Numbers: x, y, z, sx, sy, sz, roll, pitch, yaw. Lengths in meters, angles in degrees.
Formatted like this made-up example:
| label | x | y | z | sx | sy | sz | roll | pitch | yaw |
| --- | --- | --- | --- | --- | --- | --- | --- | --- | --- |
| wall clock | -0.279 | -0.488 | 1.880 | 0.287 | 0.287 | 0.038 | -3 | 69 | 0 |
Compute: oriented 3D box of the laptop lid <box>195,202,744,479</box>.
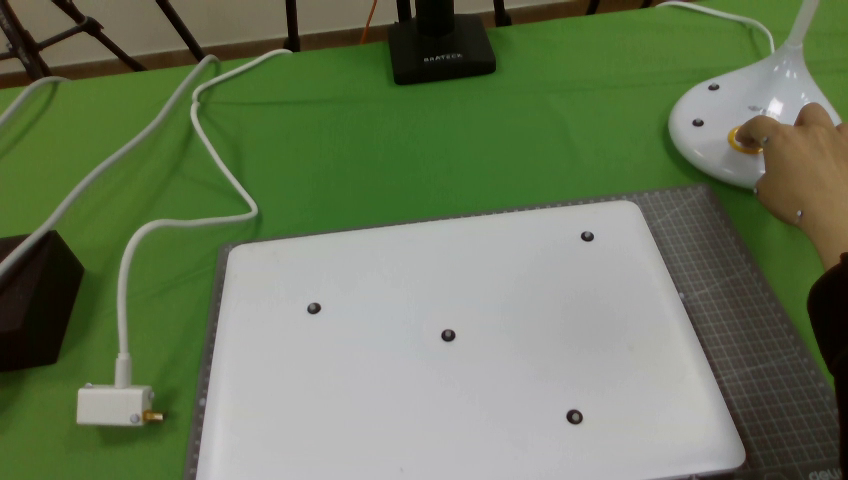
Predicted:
| label | x | y | z | sx | sy | sz | roll | pitch | yaw |
| --- | --- | --- | --- | --- | --- | --- | --- | --- | --- |
| laptop lid | 0.018 | 0.074 | 0.446 | 0.357 | 0.013 | 0.239 | -5 | 50 | 0 |

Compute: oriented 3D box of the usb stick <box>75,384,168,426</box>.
| label | x | y | z | sx | sy | sz | roll | pitch | yaw |
| --- | --- | --- | --- | --- | --- | --- | --- | --- | --- |
| usb stick | -0.214 | 0.118 | 0.433 | 0.059 | 0.021 | 0.027 | 6 | 85 | -5 |

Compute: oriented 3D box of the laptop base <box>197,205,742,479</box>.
| label | x | y | z | sx | sy | sz | roll | pitch | yaw |
| --- | --- | --- | --- | --- | --- | --- | --- | --- | --- |
| laptop base | 0.019 | 0.080 | 0.456 | 0.354 | 0.023 | 0.233 | -6 | 52 | -1 |

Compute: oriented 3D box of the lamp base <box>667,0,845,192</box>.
| label | x | y | z | sx | sy | sz | roll | pitch | yaw |
| --- | --- | --- | --- | --- | --- | --- | --- | --- | --- |
| lamp base | 0.320 | -0.164 | 0.541 | 0.159 | 0.182 | 0.178 | 20 | 50 | 21 |
